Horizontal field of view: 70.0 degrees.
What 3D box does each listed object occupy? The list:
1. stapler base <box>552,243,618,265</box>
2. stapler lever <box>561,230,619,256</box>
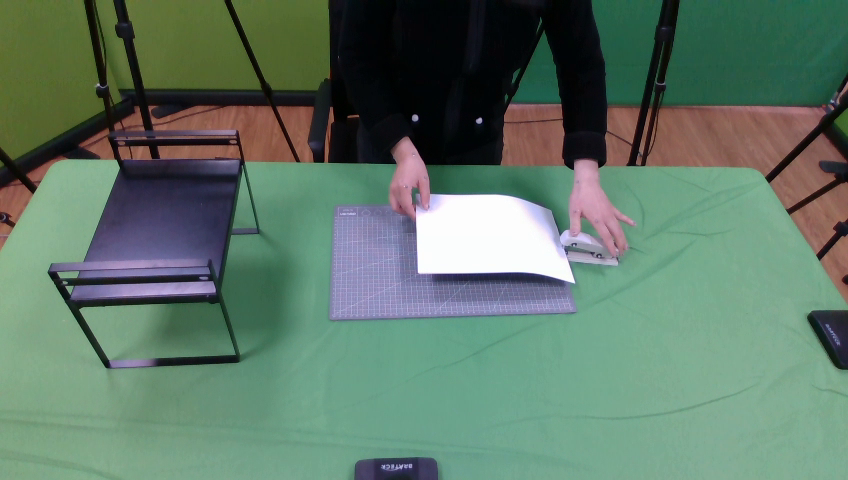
[{"bbox_3d":[0.321,0.022,1.196,0.130,0.024,0.041,7,49,-2],"label":"stapler base"},{"bbox_3d":[0.324,0.005,1.178,0.118,0.040,0.026,7,49,-2],"label":"stapler lever"}]
